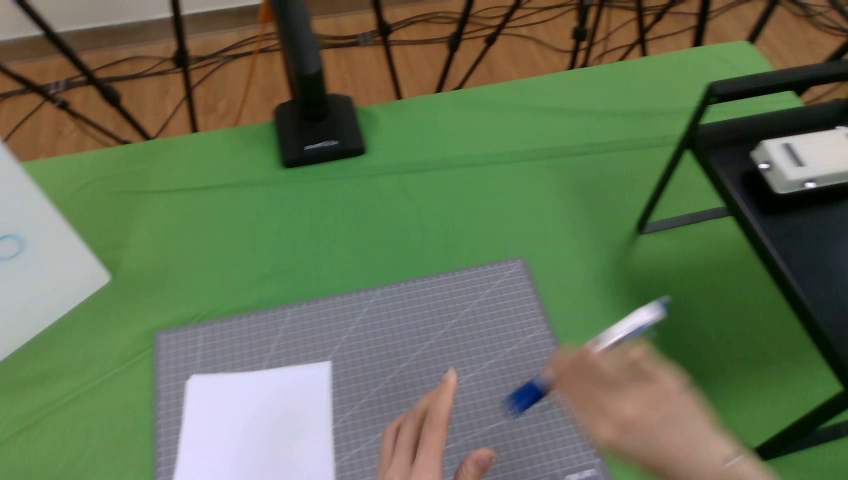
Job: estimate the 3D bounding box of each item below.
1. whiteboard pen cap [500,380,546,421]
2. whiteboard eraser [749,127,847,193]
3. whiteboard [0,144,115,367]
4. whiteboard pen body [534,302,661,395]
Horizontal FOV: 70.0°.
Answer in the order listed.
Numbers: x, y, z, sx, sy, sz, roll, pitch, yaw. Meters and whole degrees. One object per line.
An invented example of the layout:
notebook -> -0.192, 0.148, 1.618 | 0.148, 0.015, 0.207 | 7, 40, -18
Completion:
whiteboard pen cap -> 0.074, 0.117, 0.448 | 0.033, 0.018, 0.018 | -31, 61, -12
whiteboard eraser -> 0.387, -0.078, 0.603 | 0.113, 0.042, 0.055 | -10, 55, -8
whiteboard -> -0.532, -0.016, 0.638 | 0.142, 0.309, 0.217 | 26, 57, 39
whiteboard pen body -> 0.125, 0.089, 0.463 | 0.141, 0.017, 0.017 | -30, 61, -13
